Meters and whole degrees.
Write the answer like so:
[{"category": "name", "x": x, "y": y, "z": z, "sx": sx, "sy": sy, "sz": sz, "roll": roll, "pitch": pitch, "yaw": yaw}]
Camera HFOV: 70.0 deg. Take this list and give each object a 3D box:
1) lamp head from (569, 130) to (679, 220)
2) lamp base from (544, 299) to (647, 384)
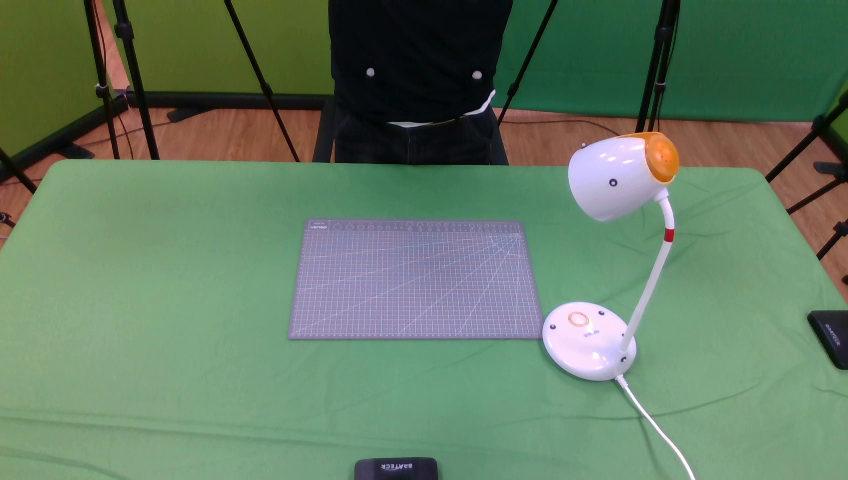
[{"category": "lamp head", "x": 0.272, "y": -0.090, "z": 0.798, "sx": 0.113, "sy": 0.122, "sz": 0.112, "roll": 7, "pitch": 78, "yaw": -33}, {"category": "lamp base", "x": 0.299, "y": 0.124, "z": 0.984, "sx": 0.161, "sy": 0.181, "sz": 0.178, "roll": -23, "pitch": 55, "yaw": -23}]
